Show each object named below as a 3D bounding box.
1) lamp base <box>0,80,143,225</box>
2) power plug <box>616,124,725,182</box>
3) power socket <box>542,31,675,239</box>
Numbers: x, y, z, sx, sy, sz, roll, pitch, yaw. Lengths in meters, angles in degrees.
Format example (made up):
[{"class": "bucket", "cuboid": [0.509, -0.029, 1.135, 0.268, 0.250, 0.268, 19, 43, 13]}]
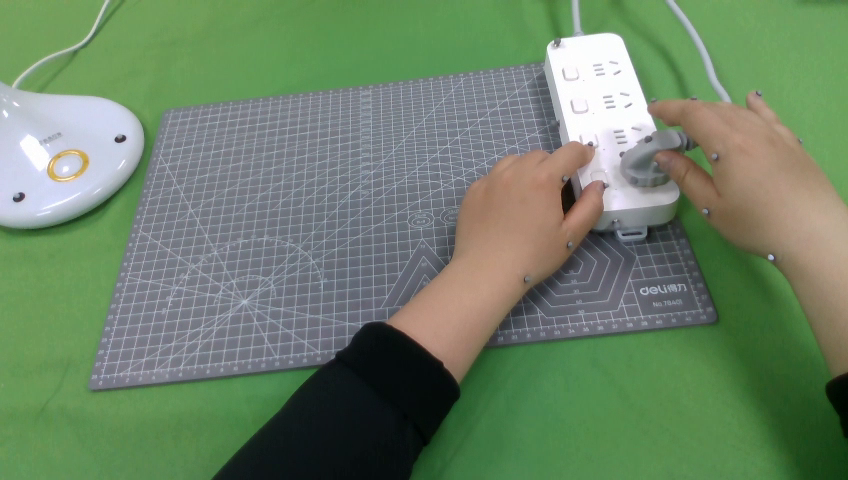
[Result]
[{"class": "lamp base", "cuboid": [-0.364, -0.129, 0.513, 0.178, 0.182, 0.160, 27, 62, 27]}, {"class": "power plug", "cuboid": [0.181, -0.058, 0.450, 0.072, 0.053, 0.035, 4, 54, 10]}, {"class": "power socket", "cuboid": [0.150, -0.101, 0.514, 0.072, 0.033, 0.224, -5, 54, 3]}]
